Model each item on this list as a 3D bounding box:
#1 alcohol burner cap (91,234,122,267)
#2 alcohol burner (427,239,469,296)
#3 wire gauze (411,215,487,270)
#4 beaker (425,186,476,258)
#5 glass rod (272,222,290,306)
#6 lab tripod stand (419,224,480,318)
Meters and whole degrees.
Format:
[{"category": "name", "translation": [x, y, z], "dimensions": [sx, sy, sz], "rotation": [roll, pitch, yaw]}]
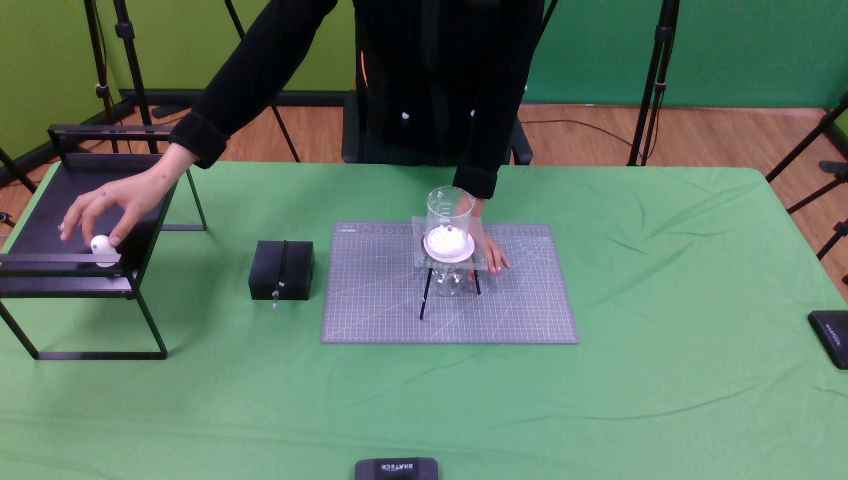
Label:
[{"category": "alcohol burner cap", "translation": [-0.464, 0.013, 0.881], "dimensions": [0.034, 0.048, 0.033], "rotation": [3, 47, -3]}, {"category": "alcohol burner", "translation": [0.044, 0.045, 1.092], "dimensions": [0.078, 0.120, 0.077], "rotation": [1, 44, -1]}, {"category": "wire gauze", "translation": [0.041, 0.003, 1.026], "dimensions": [0.125, 0.011, 0.120], "rotation": [0, 46, -1]}, {"category": "beaker", "translation": [0.041, -0.027, 0.989], "dimensions": [0.084, 0.101, 0.073], "rotation": [-12, 48, -15]}, {"category": "glass rod", "translation": [-0.255, 0.039, 1.084], "dimensions": [0.008, 0.008, 0.198], "rotation": [1, 46, -3]}, {"category": "lab tripod stand", "translation": [0.034, 0.052, 1.070], "dimensions": [0.148, 0.132, 0.147], "rotation": [3, 48, -3]}]
